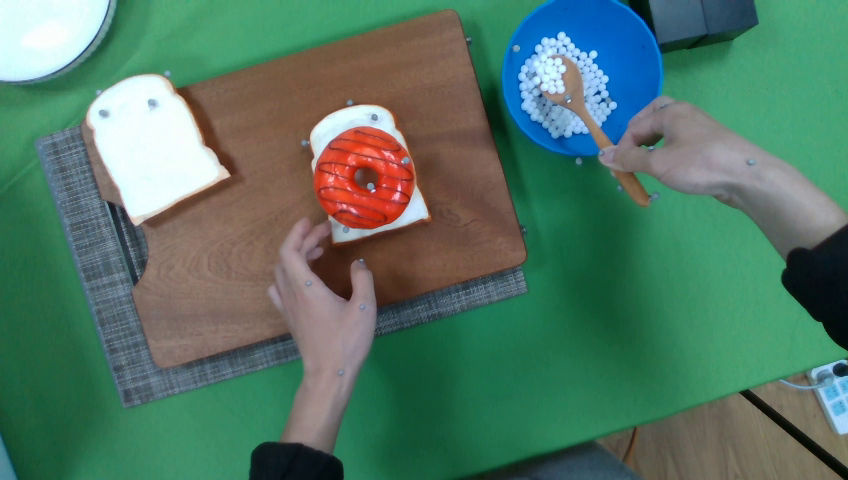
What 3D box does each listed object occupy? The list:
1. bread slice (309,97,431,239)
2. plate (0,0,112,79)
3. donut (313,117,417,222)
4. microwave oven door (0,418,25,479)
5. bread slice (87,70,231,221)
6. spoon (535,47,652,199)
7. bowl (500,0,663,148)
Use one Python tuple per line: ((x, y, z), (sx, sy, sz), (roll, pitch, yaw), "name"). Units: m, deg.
((-0.061, -0.075, 0.606), (0.105, 0.019, 0.131), (-17, 94, 0), "bread slice")
((-0.415, -0.266, 0.616), (0.208, 0.039, 0.207), (0, 93, 0), "plate")
((-0.056, -0.066, 0.576), (0.099, 0.048, 0.099), (0, 94, 0), "donut")
((-0.482, 0.142, 0.518), (0.039, 0.243, 0.356), (-20, 92, 1), "microwave oven door")
((-0.271, -0.099, 0.603), (0.107, 0.018, 0.134), (-31, 91, 1), "bread slice")
((0.150, -0.109, 0.542), (0.041, 0.022, 0.191), (-26, 54, 7), "spoon")
((0.147, -0.162, 0.599), (0.151, 0.077, 0.151), (0, 93, 1), "bowl")
